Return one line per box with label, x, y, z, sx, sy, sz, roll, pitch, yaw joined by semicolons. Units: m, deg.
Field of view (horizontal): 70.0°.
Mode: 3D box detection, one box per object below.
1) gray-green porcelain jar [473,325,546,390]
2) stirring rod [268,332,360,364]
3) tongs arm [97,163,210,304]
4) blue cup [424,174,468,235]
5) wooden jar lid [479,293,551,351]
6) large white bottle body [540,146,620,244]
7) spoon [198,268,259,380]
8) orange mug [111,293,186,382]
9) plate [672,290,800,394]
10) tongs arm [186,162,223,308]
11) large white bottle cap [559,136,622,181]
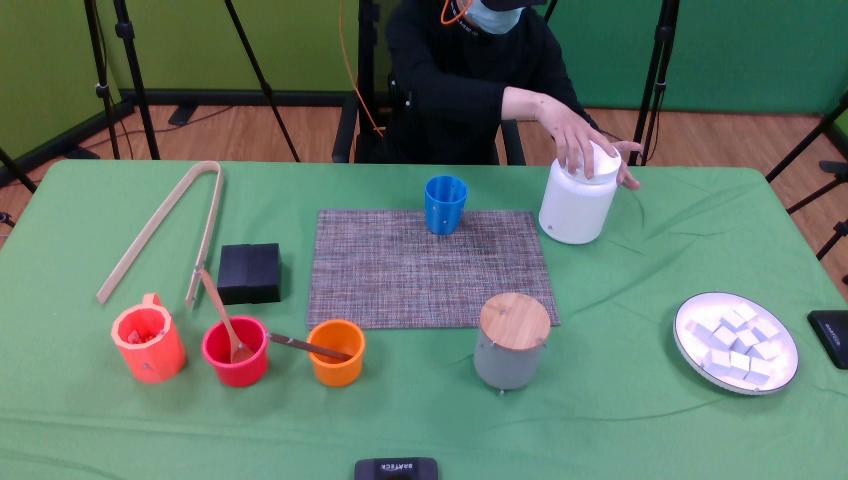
gray-green porcelain jar;0.135;0.170;0.969;0.106;0.127;0.105;2;46;-2
stirring rod;-0.167;0.169;0.941;0.177;0.006;0.014;26;26;-41
tongs arm;-0.520;-0.028;1.183;0.028;0.028;0.385;5;45;12
blue cup;0.039;-0.065;1.201;0.093;0.101;0.092;3;47;-3
wooden jar lid;0.138;0.127;0.925;0.108;0.021;0.107;1;47;-1
large white bottle body;0.308;-0.097;1.197;0.131;0.185;0.130;2;46;-2
spoon;-0.312;0.132;0.962;0.041;0.021;0.194;-24;96;-22
orange mug;-0.435;0.149;0.969;0.083;0.101;0.125;-5;51;-8
plate;0.533;0.178;1.050;0.208;0.039;0.206;2;46;-2
tongs arm;-0.436;-0.024;1.181;0.051;0.026;0.382;-2;45;0
large white bottle cap;0.312;-0.155;1.136;0.115;0.018;0.114;2;47;-2
